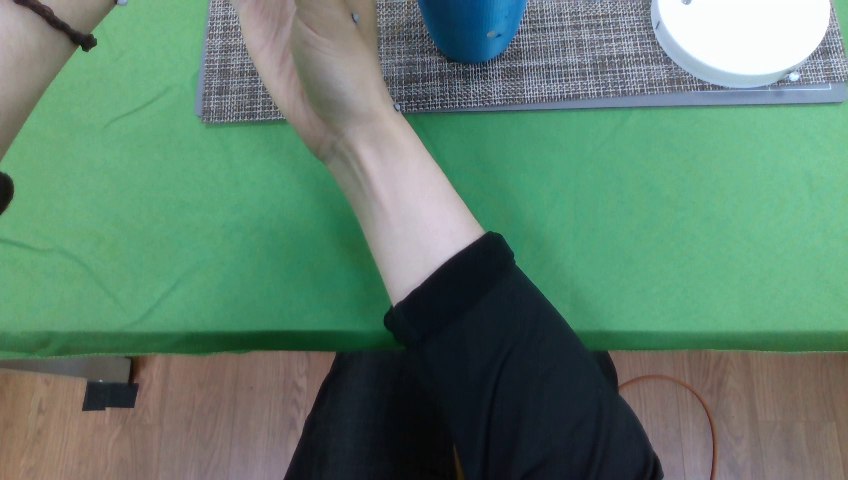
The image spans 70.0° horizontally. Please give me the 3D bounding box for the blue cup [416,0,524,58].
[{"bbox_3d":[0.029,-0.170,0.388,0.092,0.101,0.092,-1,74,5],"label":"blue cup"}]

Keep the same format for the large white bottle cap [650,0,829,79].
[{"bbox_3d":[0.216,-0.165,0.417,0.115,0.018,0.114,-1,75,4],"label":"large white bottle cap"}]
